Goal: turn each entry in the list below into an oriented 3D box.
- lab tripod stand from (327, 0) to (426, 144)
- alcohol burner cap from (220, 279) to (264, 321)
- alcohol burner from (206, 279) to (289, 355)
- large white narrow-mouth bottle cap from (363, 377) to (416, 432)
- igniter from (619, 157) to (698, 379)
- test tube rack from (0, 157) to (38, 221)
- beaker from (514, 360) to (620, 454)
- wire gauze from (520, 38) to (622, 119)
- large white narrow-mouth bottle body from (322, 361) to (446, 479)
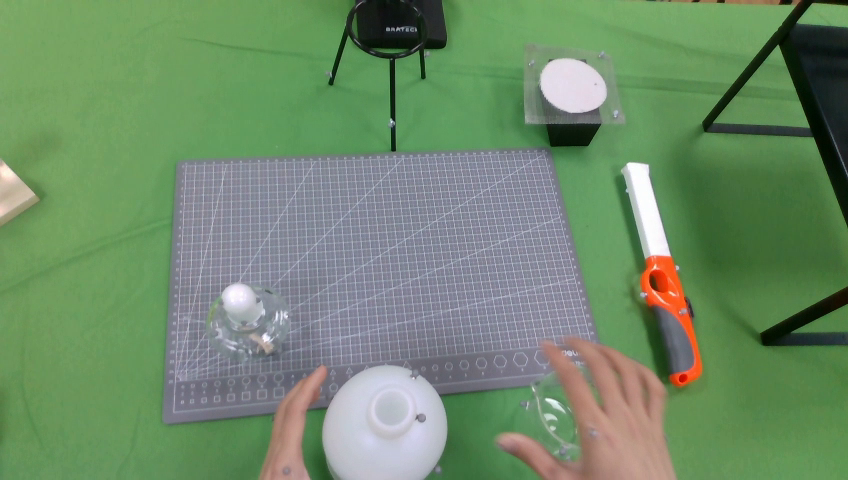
[{"bbox_3d":[-0.047,-0.210,0.714,0.149,0.132,0.147,4,65,-8],"label":"lab tripod stand"},{"bbox_3d":[-0.164,0.052,0.540,0.034,0.048,0.033,2,70,-4],"label":"alcohol burner cap"},{"bbox_3d":[-0.168,0.067,0.573,0.078,0.120,0.077,4,62,-7],"label":"alcohol burner"},{"bbox_3d":[-0.024,0.117,0.431,0.038,0.024,0.037,3,64,-6],"label":"large white narrow-mouth bottle cap"},{"bbox_3d":[0.269,0.024,0.703,0.057,0.025,0.274,4,64,-17],"label":"igniter"},{"bbox_3d":[-0.519,-0.011,0.581,0.066,0.085,0.242,41,66,12],"label":"test tube rack"},{"bbox_3d":[0.128,0.162,0.579,0.084,0.101,0.073,27,64,7],"label":"beaker"},{"bbox_3d":[0.180,-0.200,0.754,0.122,0.011,0.124,4,64,-6],"label":"wire gauze"},{"bbox_3d":[-0.034,0.156,0.506,0.102,0.196,0.101,3,63,-6],"label":"large white narrow-mouth bottle body"}]
